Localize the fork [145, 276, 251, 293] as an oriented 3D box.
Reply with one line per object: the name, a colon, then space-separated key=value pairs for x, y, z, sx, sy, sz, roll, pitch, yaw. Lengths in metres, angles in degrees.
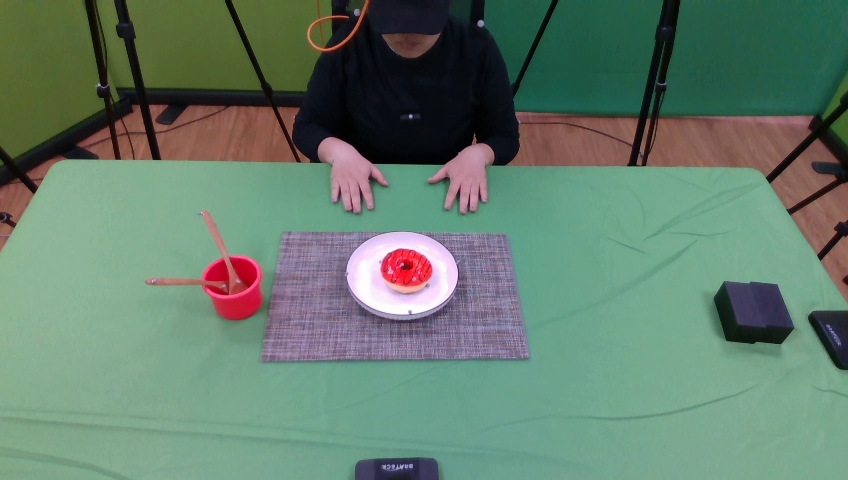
fork: x=-0.368 y=0.073 z=1.006 sx=0.018 sy=0.208 sz=0.028 roll=-24 pitch=72 yaw=23

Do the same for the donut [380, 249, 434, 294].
donut: x=-0.032 y=0.056 z=1.111 sx=0.099 sy=0.048 sz=0.098 roll=3 pitch=43 yaw=-3

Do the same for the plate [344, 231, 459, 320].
plate: x=-0.042 y=0.068 z=1.115 sx=0.209 sy=0.038 sz=0.208 roll=2 pitch=46 yaw=-2

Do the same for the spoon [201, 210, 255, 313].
spoon: x=-0.343 y=0.037 z=1.052 sx=0.041 sy=0.021 sz=0.194 roll=-23 pitch=96 yaw=-32
